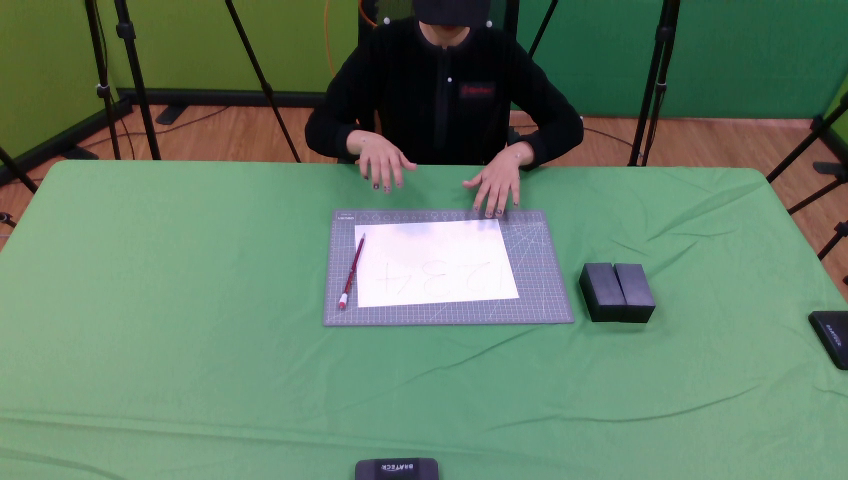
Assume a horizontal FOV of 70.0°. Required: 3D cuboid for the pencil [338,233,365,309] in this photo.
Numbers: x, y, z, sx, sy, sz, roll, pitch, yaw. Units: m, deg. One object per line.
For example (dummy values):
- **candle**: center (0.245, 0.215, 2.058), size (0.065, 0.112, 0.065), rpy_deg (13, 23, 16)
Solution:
- **pencil**: center (-0.134, 0.053, 1.142), size (0.012, 0.012, 0.193), rpy_deg (8, 45, 5)
